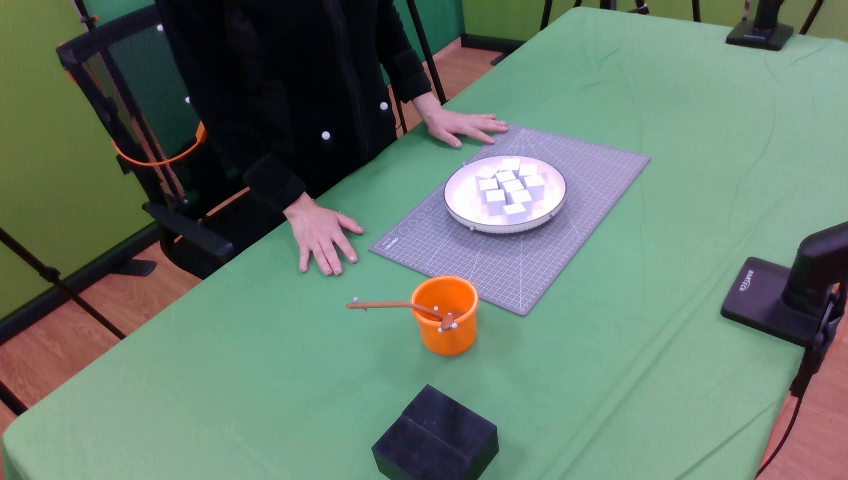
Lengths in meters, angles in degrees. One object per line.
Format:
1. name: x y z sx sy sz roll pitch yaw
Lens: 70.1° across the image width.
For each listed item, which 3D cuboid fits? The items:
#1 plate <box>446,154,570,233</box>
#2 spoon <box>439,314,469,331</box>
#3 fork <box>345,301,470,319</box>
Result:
1. plate: 0.142 -0.076 1.033 0.207 0.039 0.206 -5 40 5
2. spoon: 0.033 0.101 0.760 0.041 0.194 0.021 0 83 7
3. fork: -0.017 0.090 0.776 0.209 0.018 0.028 14 -1 -44
